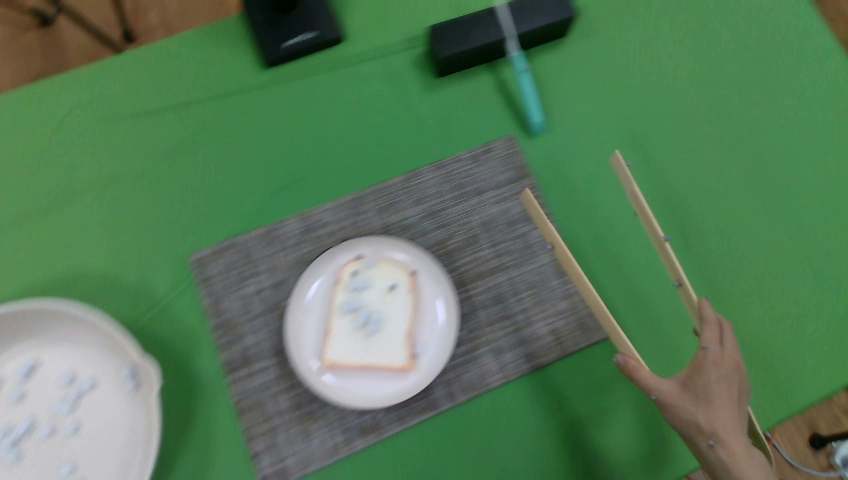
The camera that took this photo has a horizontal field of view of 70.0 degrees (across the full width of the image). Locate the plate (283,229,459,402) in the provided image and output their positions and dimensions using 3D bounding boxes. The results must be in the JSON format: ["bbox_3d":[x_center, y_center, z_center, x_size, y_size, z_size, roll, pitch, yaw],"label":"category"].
[{"bbox_3d":[-0.062,0.090,0.732,0.208,0.039,0.206,1,74,-3],"label":"plate"}]

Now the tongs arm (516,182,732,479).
[{"bbox_3d":[0.213,0.097,0.642,0.028,0.028,0.386,-30,79,-22],"label":"tongs arm"}]

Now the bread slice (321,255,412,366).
[{"bbox_3d":[-0.068,0.085,0.735,0.107,0.018,0.133,1,76,-4],"label":"bread slice"}]

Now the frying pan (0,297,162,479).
[{"bbox_3d":[-0.379,0.295,0.624,0.307,0.103,0.484,-26,69,-9],"label":"frying pan"}]

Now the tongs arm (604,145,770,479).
[{"bbox_3d":[0.273,0.071,0.660,0.051,0.026,0.382,-21,77,-17],"label":"tongs arm"}]

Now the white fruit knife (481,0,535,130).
[{"bbox_3d":[0.109,-0.249,0.820,0.016,0.027,0.207,-21,90,-10],"label":"white fruit knife"}]
